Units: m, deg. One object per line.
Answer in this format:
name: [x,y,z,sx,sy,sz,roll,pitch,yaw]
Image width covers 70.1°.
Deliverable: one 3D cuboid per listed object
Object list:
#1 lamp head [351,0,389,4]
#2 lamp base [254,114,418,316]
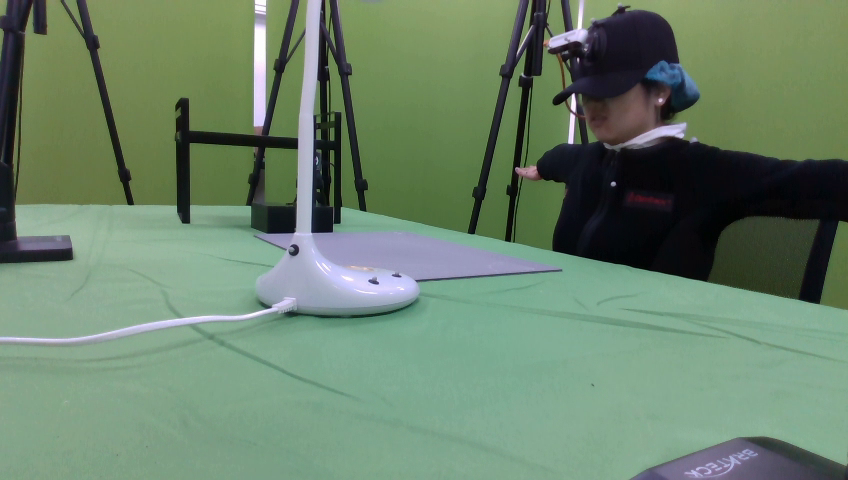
lamp head: [-0.053,-0.313,0.597,0.112,0.112,0.123,6,-28,25]
lamp base: [-0.086,-0.027,0.577,0.160,0.180,0.179,4,10,16]
